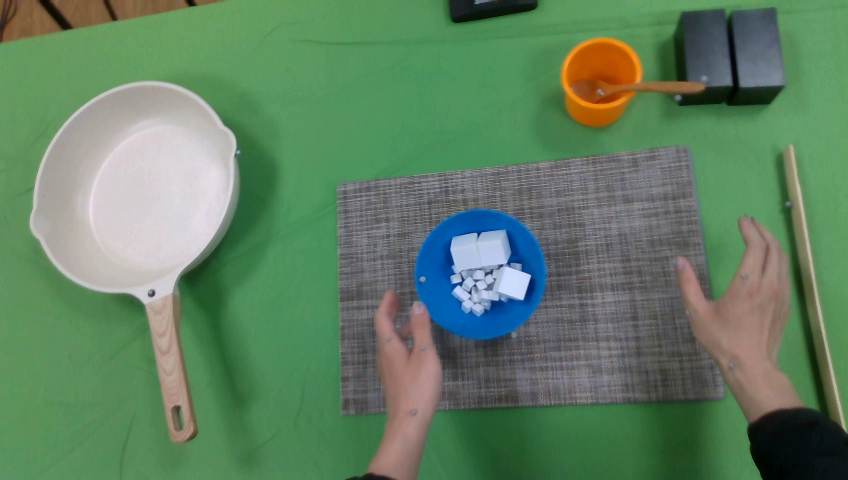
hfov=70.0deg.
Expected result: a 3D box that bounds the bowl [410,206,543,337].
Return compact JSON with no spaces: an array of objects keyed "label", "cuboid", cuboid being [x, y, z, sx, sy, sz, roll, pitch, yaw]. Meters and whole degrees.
[{"label":"bowl","cuboid":[0.065,0.042,0.716,0.151,0.077,0.150,-2,78,9]}]

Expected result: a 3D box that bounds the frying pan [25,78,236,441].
[{"label":"frying pan","cuboid":[-0.354,0.019,0.784,0.307,0.103,0.483,-21,67,6]}]

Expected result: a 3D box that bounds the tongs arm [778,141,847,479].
[{"label":"tongs arm","cuboid":[0.439,0.074,0.677,0.028,0.028,0.385,-6,78,7]}]

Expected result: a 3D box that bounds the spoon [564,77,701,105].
[{"label":"spoon","cuboid":[0.232,-0.175,0.700,0.022,0.192,0.041,37,82,-28]}]
